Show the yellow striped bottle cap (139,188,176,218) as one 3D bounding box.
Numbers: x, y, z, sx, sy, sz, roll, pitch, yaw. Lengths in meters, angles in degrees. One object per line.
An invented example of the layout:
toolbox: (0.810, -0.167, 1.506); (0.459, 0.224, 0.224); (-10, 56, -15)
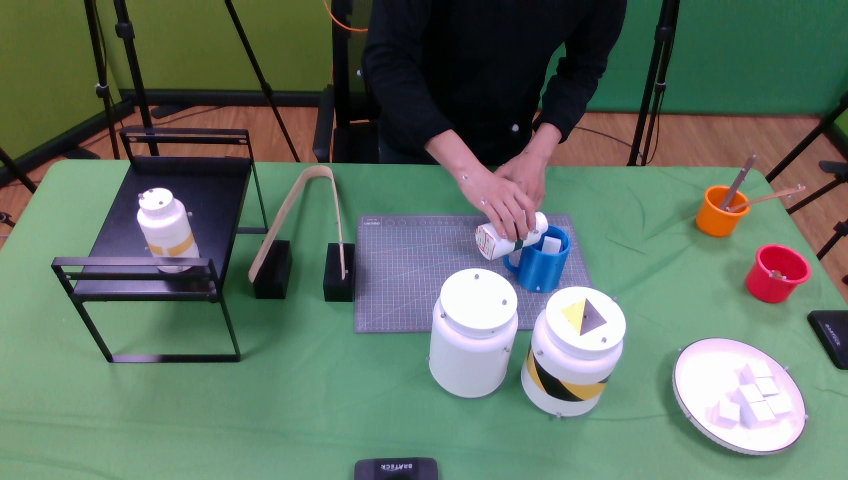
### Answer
yellow striped bottle cap: (-0.363, -0.051, 0.827); (0.044, 0.019, 0.044); (1, 48, -1)

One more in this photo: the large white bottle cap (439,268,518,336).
large white bottle cap: (0.080, 0.089, 0.888); (0.115, 0.018, 0.114); (2, 47, -2)

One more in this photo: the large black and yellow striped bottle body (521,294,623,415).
large black and yellow striped bottle body: (0.228, 0.173, 0.938); (0.131, 0.185, 0.130); (2, 47, -2)

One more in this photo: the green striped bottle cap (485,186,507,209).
green striped bottle cap: (0.139, -0.083, 1.173); (0.044, 0.020, 0.044); (23, 49, -29)

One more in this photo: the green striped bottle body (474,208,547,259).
green striped bottle body: (0.151, -0.015, 1.040); (0.119, 0.063, 0.063); (-21, 52, -21)

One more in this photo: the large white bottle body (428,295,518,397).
large white bottle body: (0.076, 0.147, 0.950); (0.131, 0.185, 0.130); (2, 46, -2)

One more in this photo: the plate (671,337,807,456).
plate: (0.503, 0.254, 0.984); (0.208, 0.039, 0.206); (2, 46, -2)

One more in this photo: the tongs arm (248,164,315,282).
tongs arm: (-0.270, -0.047, 1.165); (0.028, 0.028, 0.385); (-1, 34, 7)

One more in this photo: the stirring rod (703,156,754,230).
stirring rod: (0.631, -0.098, 1.258); (0.014, 0.006, 0.176); (33, 95, 29)

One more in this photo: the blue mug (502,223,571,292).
blue mug: (0.203, 0.031, 1.121); (0.116, 0.106, 0.082); (5, 47, 1)

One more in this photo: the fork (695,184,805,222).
fork: (0.657, -0.075, 1.230); (0.207, 0.019, 0.028); (-23, 34, 37)

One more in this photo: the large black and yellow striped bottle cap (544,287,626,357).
large black and yellow striped bottle cap: (0.232, 0.116, 0.876); (0.115, 0.019, 0.114); (2, 46, -1)

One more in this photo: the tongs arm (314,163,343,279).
tongs arm: (-0.188, -0.049, 1.170); (0.051, 0.026, 0.382); (-6, 35, -6)

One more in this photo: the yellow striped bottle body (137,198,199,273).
yellow striped bottle body: (-0.366, -0.014, 0.864); (0.063, 0.121, 0.062); (2, 46, -2)

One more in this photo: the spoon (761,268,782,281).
spoon: (0.638, 0.060, 1.105); (0.041, 0.021, 0.194); (38, 11, 24)
